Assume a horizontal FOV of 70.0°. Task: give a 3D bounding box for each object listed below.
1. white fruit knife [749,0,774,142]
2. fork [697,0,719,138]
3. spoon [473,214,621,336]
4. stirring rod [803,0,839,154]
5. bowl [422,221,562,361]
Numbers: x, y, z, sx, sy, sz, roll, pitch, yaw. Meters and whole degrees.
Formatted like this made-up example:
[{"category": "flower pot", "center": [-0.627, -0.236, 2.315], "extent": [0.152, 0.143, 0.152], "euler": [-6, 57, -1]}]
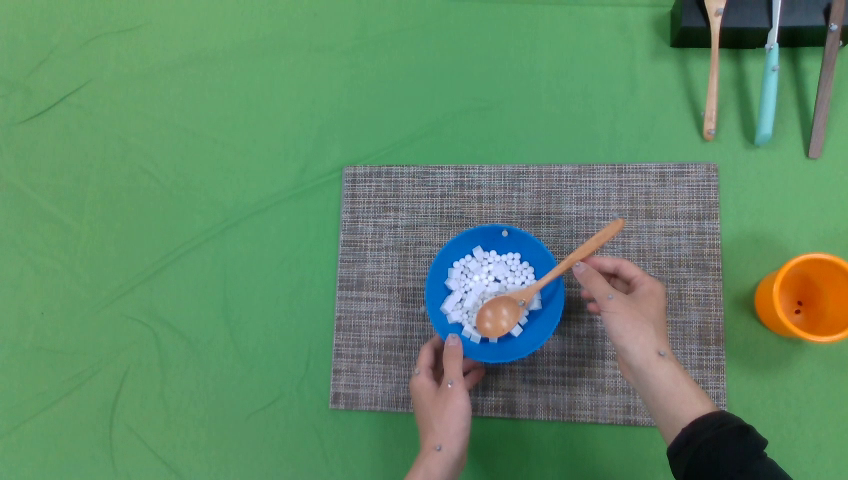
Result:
[{"category": "white fruit knife", "center": [0.387, -0.217, 0.686], "extent": [0.016, 0.027, 0.207], "euler": [2, 97, 5]}, {"category": "fork", "center": [0.326, -0.222, 0.696], "extent": [0.028, 0.018, 0.208], "euler": [-2, 100, 5]}, {"category": "spoon", "center": [0.130, 0.037, 0.643], "extent": [0.194, 0.022, 0.041], "euler": [-40, 83, 19]}, {"category": "stirring rod", "center": [0.449, -0.186, 0.684], "extent": [0.014, 0.006, 0.176], "euler": [3, 101, 5]}, {"category": "bowl", "center": [0.076, 0.060, 0.681], "extent": [0.151, 0.077, 0.151], "euler": [-1, 80, 7]}]
